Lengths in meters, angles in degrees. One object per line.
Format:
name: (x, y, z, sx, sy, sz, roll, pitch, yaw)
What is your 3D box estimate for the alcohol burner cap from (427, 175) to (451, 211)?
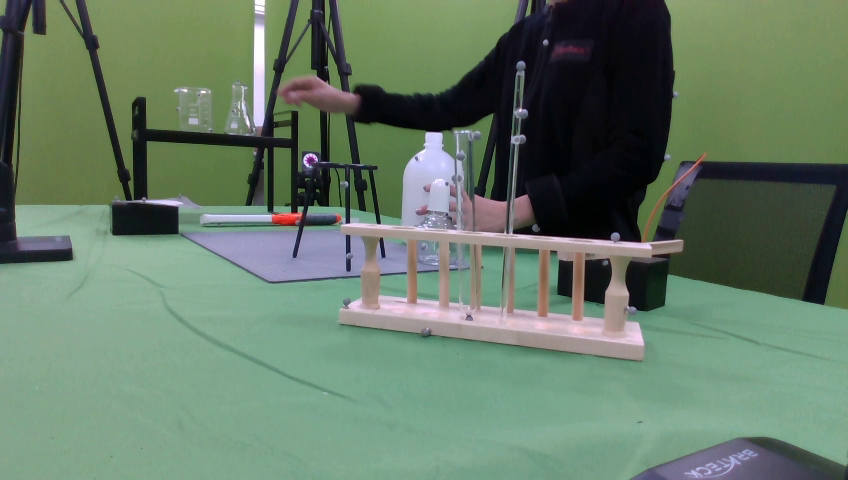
alcohol burner cap: (0.023, -0.064, 0.822, 0.034, 0.048, 0.034, 7, 5, 0)

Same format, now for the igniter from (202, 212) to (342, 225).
igniter: (-0.298, -0.044, 1.216, 0.278, 0.025, 0.057, -2, -2, -32)

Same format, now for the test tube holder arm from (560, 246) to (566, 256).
test tube holder arm: (0.173, 0.007, 0.611, 0.088, 0.015, 0.010, -3, 10, -30)

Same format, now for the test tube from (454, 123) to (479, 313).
test tube: (0.034, -0.016, 0.477, 0.017, 0.150, 0.017, -2, 9, 1)

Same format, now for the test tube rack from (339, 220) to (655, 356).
test tube rack: (0.056, 0.032, 0.495, 0.242, 0.085, 0.067, 4, 7, 15)

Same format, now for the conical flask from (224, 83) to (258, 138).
conical flask: (-0.422, -0.299, 1.395, 0.075, 0.122, 0.075, 2, 7, 0)

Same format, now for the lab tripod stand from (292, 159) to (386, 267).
lab tripod stand: (-0.105, -0.039, 0.798, 0.148, 0.131, 0.148, 2, 5, 0)

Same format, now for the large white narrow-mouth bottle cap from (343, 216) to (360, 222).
large white narrow-mouth bottle cap: (-0.148, -0.036, 1.234, 0.038, 0.024, 0.037, 2, 8, 0)

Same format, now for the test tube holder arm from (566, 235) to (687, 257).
test tube holder arm: (0.215, 0.006, 0.630, 0.179, 0.015, 0.013, -3, 10, -31)

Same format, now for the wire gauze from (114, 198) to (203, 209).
wire gauze: (-0.447, -0.062, 1.015, 0.126, 0.011, 0.121, -2, 8, -31)

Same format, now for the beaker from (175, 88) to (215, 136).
beaker: (-0.511, -0.285, 1.353, 0.084, 0.100, 0.073, -2, 8, -25)

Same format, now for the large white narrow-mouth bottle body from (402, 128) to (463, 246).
large white narrow-mouth bottle body: (0.015, -0.092, 1.031, 0.102, 0.194, 0.102, 2, 8, 0)

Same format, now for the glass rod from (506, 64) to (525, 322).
glass rod: (0.069, -0.030, 0.458, 0.008, 0.199, 0.008, 0, 15, 0)

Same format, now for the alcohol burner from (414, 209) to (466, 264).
alcohol burner: (0.021, -0.028, 0.826, 0.078, 0.119, 0.078, 0, 6, 0)
